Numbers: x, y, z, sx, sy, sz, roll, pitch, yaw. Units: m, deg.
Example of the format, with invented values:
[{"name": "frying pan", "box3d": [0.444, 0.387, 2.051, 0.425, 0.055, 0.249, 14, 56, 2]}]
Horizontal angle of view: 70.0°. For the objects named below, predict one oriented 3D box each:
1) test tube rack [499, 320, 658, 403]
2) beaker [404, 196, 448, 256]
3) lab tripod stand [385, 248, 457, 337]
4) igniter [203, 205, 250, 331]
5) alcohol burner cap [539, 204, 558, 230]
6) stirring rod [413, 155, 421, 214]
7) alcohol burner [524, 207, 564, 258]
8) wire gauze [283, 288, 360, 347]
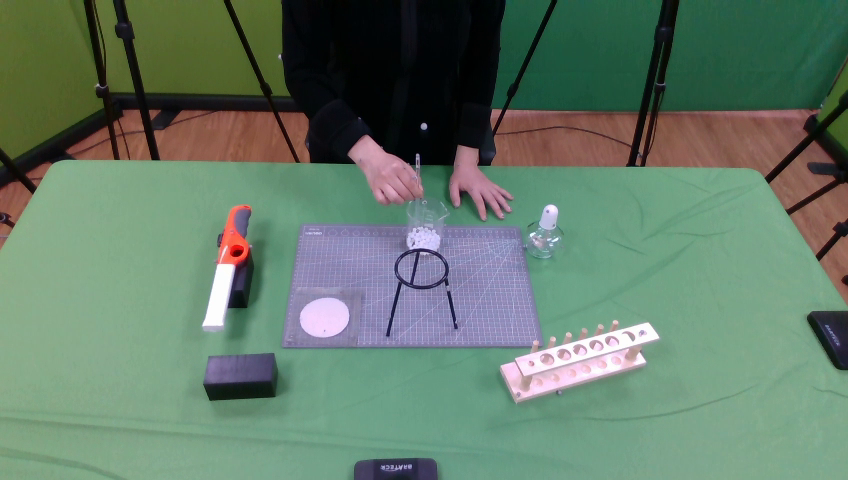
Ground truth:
[{"name": "test tube rack", "box3d": [0.252, 0.187, 0.994, 0.243, 0.085, 0.066, -12, 48, -15]}, {"name": "beaker", "box3d": [0.001, -0.024, 1.164, 0.084, 0.101, 0.073, 6, 46, 0]}, {"name": "lab tripod stand", "box3d": [-0.010, 0.087, 1.032, 0.148, 0.132, 0.147, 1, 45, -1]}, {"name": "igniter", "box3d": [-0.345, 0.039, 1.065, 0.057, 0.025, 0.274, 2, 49, -6]}, {"name": "alcohol burner cap", "box3d": [0.238, -0.045, 1.148, 0.034, 0.048, 0.033, 2, 42, -1]}, {"name": "stirring rod", "box3d": [-0.012, -0.095, 1.076, 0.014, 0.177, 0.006, -10, 61, -6]}, {"name": "alcohol burner", "box3d": [0.236, -0.021, 1.174, 0.078, 0.120, 0.077, 1, 48, -1]}, {"name": "wire gauze", "box3d": [-0.178, 0.132, 1.063, 0.125, 0.011, 0.120, 2, 46, 1]}]
